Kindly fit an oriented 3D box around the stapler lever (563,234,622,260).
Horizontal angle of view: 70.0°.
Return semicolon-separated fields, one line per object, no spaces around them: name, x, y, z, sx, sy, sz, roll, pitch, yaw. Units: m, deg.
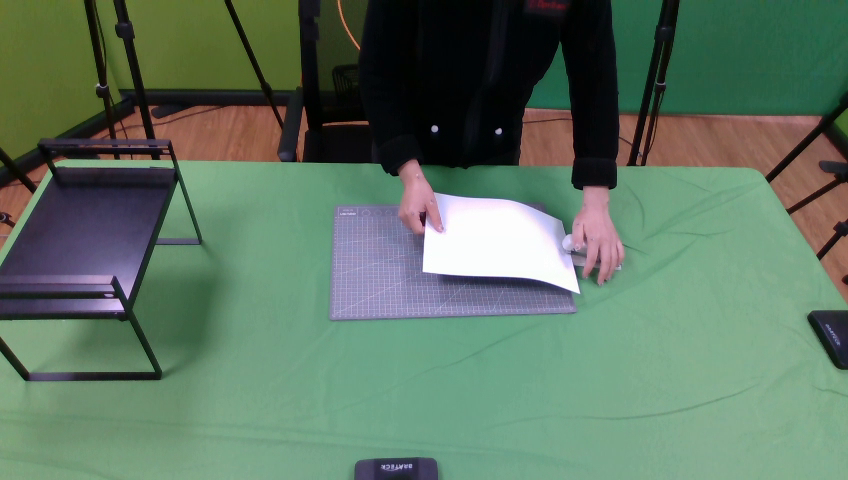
stapler lever;0.327;0.014;1.172;0.118;0.040;0.026;6;49;-1

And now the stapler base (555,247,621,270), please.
stapler base;0.323;0.030;1.189;0.130;0.024;0.041;7;49;-2
